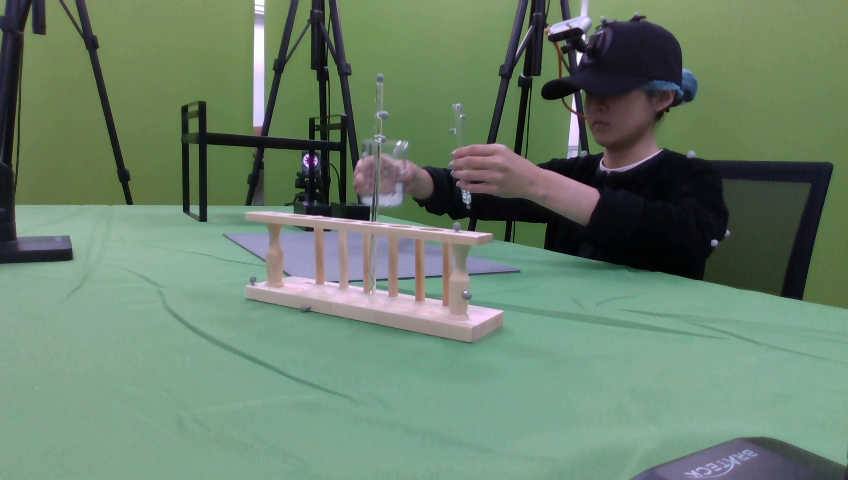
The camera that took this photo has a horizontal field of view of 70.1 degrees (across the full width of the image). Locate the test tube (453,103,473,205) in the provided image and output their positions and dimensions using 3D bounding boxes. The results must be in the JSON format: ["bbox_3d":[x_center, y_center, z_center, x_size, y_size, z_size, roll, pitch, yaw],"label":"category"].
[{"bbox_3d":[0.058,-0.127,0.898,0.017,0.150,0.017,-6,8,1],"label":"test tube"}]

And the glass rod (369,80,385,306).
[{"bbox_3d":[-0.041,-0.039,0.530,0.008,0.199,0.008,3,2,0],"label":"glass rod"}]

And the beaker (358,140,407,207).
[{"bbox_3d":[-0.063,-0.104,0.948,0.083,0.100,0.074,11,12,36],"label":"beaker"}]

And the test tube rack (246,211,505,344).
[{"bbox_3d":[-0.049,0.025,0.547,0.241,0.085,0.067,7,8,29],"label":"test tube rack"}]
